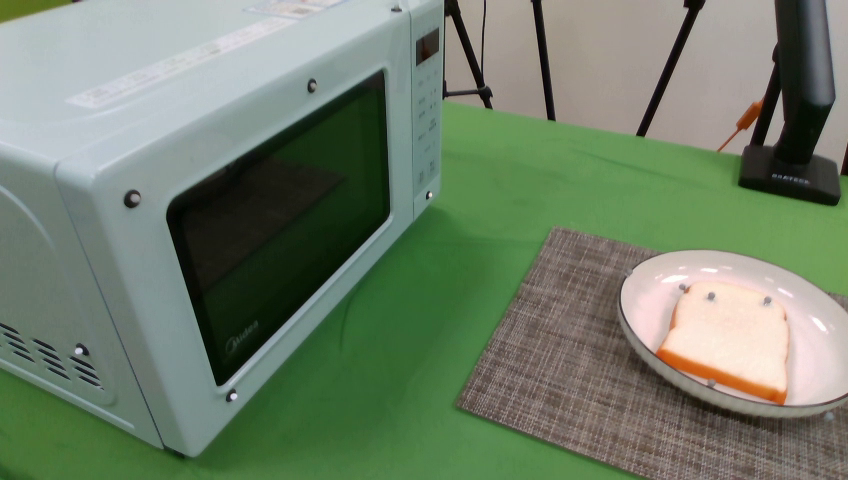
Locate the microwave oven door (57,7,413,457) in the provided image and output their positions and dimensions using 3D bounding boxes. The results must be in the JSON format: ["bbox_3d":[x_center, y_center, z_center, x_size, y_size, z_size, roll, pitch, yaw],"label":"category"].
[{"bbox_3d":[-0.106,-0.029,0.507,0.039,0.246,0.354,15,38,21],"label":"microwave oven door"}]

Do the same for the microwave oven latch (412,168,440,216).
[{"bbox_3d":[-0.007,-0.059,0.727,0.030,0.030,0.079,17,39,21],"label":"microwave oven latch"}]

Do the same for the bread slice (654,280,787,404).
[{"bbox_3d":[0.276,0.083,0.556,0.104,0.019,0.131,17,40,22],"label":"bread slice"}]

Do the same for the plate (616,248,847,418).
[{"bbox_3d":[0.280,0.082,0.553,0.209,0.038,0.207,0,35,0],"label":"plate"}]

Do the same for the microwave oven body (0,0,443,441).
[{"bbox_3d":[-0.219,-0.083,0.592,0.324,0.262,0.440,16,39,20],"label":"microwave oven body"}]
